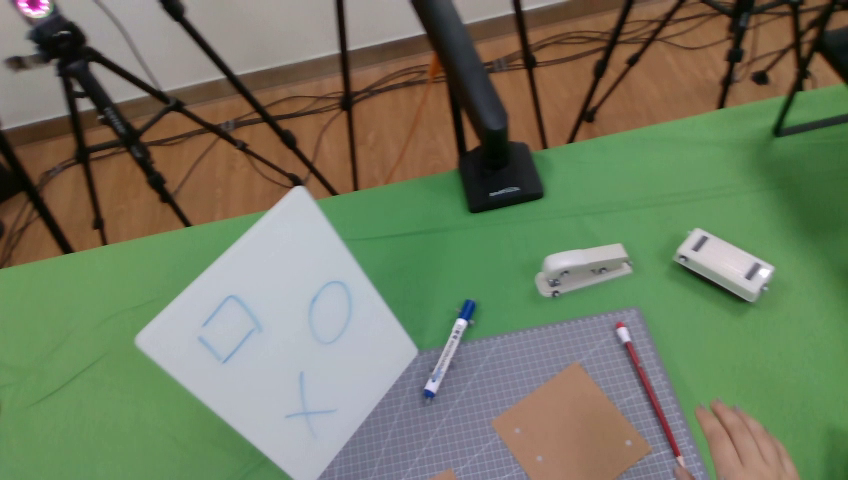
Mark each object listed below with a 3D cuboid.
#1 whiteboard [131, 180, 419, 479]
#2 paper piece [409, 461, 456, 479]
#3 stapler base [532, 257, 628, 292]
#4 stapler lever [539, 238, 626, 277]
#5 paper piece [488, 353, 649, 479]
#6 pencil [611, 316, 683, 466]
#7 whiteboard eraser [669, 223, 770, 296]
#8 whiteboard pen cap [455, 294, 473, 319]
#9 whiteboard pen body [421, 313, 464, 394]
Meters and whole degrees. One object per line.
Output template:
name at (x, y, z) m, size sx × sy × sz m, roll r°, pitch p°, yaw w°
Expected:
whiteboard at (-0.180, 0.100, 0.720) m, size 0.142 × 0.309 × 0.217 m, roll 19°, pitch 59°, yaw 45°
paper piece at (-0.005, 0.335, 0.671) m, size 0.135 × 0.004 × 0.134 m, roll -24°, pitch 56°, yaw -8°
stapler base at (0.216, 0.035, 0.838) m, size 0.130 × 0.024 × 0.041 m, roll -16°, pitch 57°, yaw -4°
stapler lever at (0.214, 0.021, 0.818) m, size 0.118 × 0.040 × 0.026 m, roll -17°, pitch 57°, yaw -3°
paper piece at (0.168, 0.224, 0.720) m, size 0.136 × 0.009 × 0.137 m, roll -33°, pitch 58°, yaw -9°
pencil at (0.269, 0.177, 0.734) m, size 0.012 × 0.012 × 0.192 m, roll -15°, pitch 57°, yaw -1°
whiteboard eraser at (0.389, 0.027, 0.802) m, size 0.111 × 0.042 × 0.055 m, roll 34°, pitch 68°, yaw 28°
whiteboard pen cap at (0.054, 0.092, 0.825) m, size 0.018 × 0.018 × 0.033 m, roll 14°, pitch 59°, yaw 19°
whiteboard pen body at (0.030, 0.137, 0.798) m, size 0.017 × 0.017 × 0.140 m, roll 16°, pitch 59°, yaw 20°
